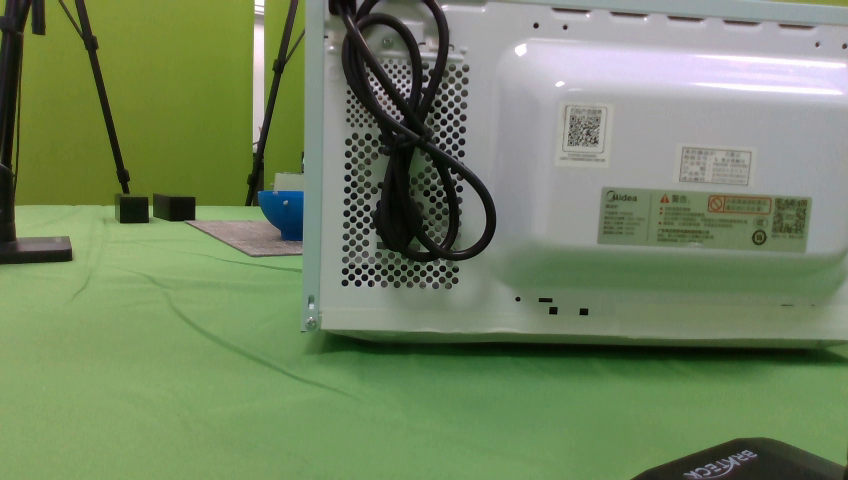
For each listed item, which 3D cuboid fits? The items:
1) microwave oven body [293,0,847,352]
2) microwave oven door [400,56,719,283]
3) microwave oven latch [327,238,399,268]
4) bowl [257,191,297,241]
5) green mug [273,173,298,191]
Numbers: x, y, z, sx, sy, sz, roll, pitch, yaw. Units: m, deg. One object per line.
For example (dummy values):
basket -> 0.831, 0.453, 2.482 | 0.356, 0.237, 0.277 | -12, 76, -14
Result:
microwave oven body -> 0.122, -0.055, 0.550 | 0.442, 0.260, 0.325 | 3, 7, -5
microwave oven door -> 0.155, -0.077, 0.697 | 0.356, 0.243, 0.039 | 2, 8, -5
microwave oven latch -> -0.069, 0.015, 0.694 | 0.079, 0.029, 0.030 | 3, 7, -3
bowl -> -0.206, -0.041, 1.027 | 0.151, 0.077, 0.151 | 3, 8, 0
green mug -> -0.264, -0.084, 1.236 | 0.093, 0.105, 0.125 | 0, 8, -13
